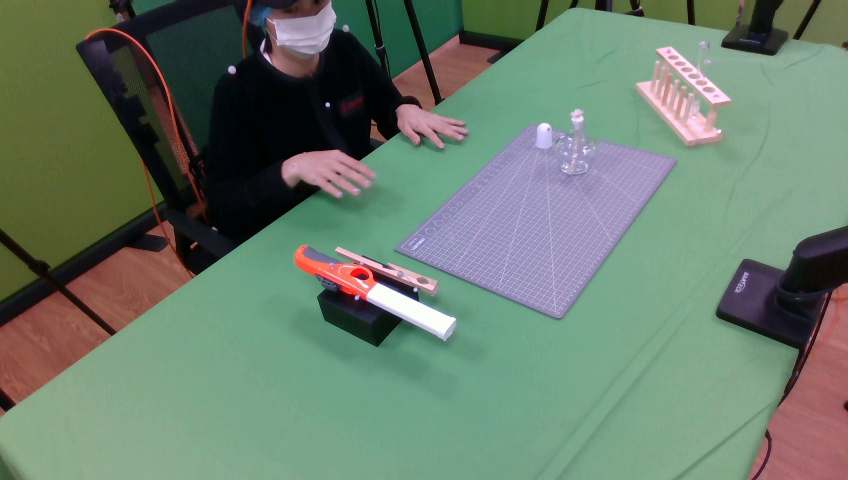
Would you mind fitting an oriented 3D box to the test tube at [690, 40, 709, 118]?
[{"bbox_3d":[0.510,-0.295,1.120,0.017,0.151,0.017,-6,39,6],"label":"test tube"}]

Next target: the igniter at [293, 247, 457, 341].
[{"bbox_3d":[-0.077,0.068,0.830,0.274,0.025,0.057,22,48,27],"label":"igniter"}]

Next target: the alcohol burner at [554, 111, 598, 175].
[{"bbox_3d":[0.270,-0.175,1.066,0.078,0.119,0.077,-4,42,4],"label":"alcohol burner"}]

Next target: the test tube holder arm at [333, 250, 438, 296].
[{"bbox_3d":[-0.059,0.045,0.859,0.177,0.015,0.013,17,49,26],"label":"test tube holder arm"}]

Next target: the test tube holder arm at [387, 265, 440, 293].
[{"bbox_3d":[-0.017,0.054,0.843,0.087,0.015,0.010,18,49,26],"label":"test tube holder arm"}]

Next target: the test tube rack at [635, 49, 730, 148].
[{"bbox_3d":[0.497,-0.283,1.185,0.067,0.085,0.240,-10,40,-2],"label":"test tube rack"}]

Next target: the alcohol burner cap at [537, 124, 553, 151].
[{"bbox_3d":[0.232,-0.199,1.158,0.034,0.048,0.033,-5,40,5],"label":"alcohol burner cap"}]
